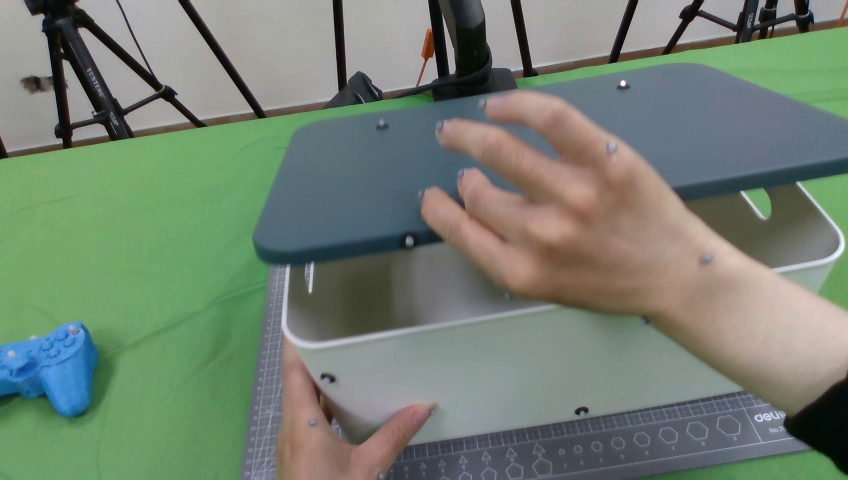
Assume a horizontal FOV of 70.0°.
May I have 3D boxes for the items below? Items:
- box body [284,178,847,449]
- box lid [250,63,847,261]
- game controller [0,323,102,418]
[{"bbox_3d":[0.088,0.011,0.510,0.364,0.162,0.251,-9,43,0],"label":"box body"},{"bbox_3d":[0.073,-0.073,0.438,0.372,0.015,0.261,-9,26,-1],"label":"box lid"},{"bbox_3d":[-0.382,0.126,0.564,0.155,0.052,0.096,-9,38,-1],"label":"game controller"}]
